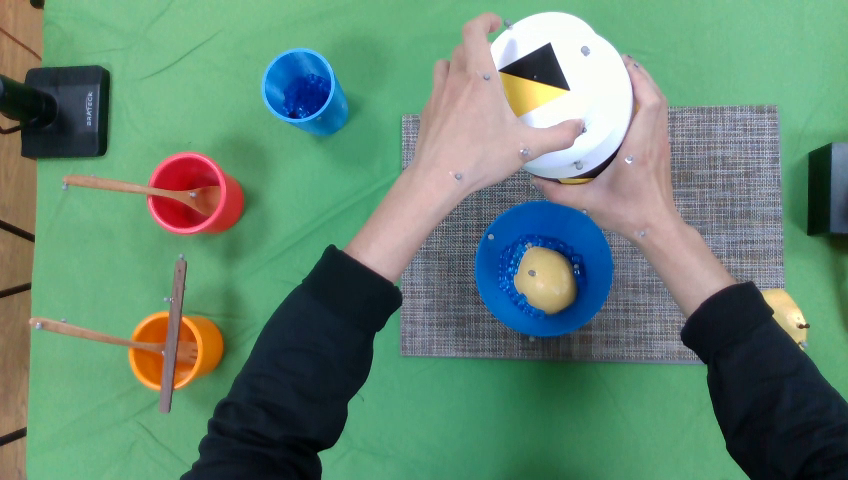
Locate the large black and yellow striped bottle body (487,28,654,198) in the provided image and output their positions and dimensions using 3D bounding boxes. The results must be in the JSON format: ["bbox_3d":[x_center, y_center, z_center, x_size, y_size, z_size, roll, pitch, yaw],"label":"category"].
[{"bbox_3d":[0.137,-0.124,0.582,0.130,0.185,0.130,-7,75,30],"label":"large black and yellow striped bottle body"}]

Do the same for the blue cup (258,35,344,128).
[{"bbox_3d":[-0.138,-0.176,0.726,0.092,0.100,0.092,-1,86,8],"label":"blue cup"}]

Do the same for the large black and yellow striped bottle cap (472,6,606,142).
[{"bbox_3d":[0.094,-0.140,0.511,0.114,0.019,0.114,-7,77,31],"label":"large black and yellow striped bottle cap"}]

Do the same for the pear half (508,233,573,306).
[{"bbox_3d":[0.130,0.030,0.684,0.070,0.031,0.087,-26,80,0],"label":"pear half"}]

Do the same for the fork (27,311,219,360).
[{"bbox_3d":[-0.341,0.111,0.703,0.209,0.018,0.028,21,98,-37],"label":"fork"}]

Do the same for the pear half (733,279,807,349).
[{"bbox_3d":[0.371,0.083,0.652,0.056,0.110,0.076,-19,80,5],"label":"pear half"}]

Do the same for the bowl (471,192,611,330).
[{"bbox_3d":[0.131,0.025,0.695,0.151,0.077,0.151,0,86,6],"label":"bowl"}]

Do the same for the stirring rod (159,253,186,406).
[{"bbox_3d":[-0.289,0.103,0.696,0.014,0.006,0.176,5,87,4],"label":"stirring rod"}]

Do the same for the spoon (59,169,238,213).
[{"bbox_3d":[-0.318,-0.063,0.715,0.195,0.021,0.041,9,88,-37],"label":"spoon"}]
